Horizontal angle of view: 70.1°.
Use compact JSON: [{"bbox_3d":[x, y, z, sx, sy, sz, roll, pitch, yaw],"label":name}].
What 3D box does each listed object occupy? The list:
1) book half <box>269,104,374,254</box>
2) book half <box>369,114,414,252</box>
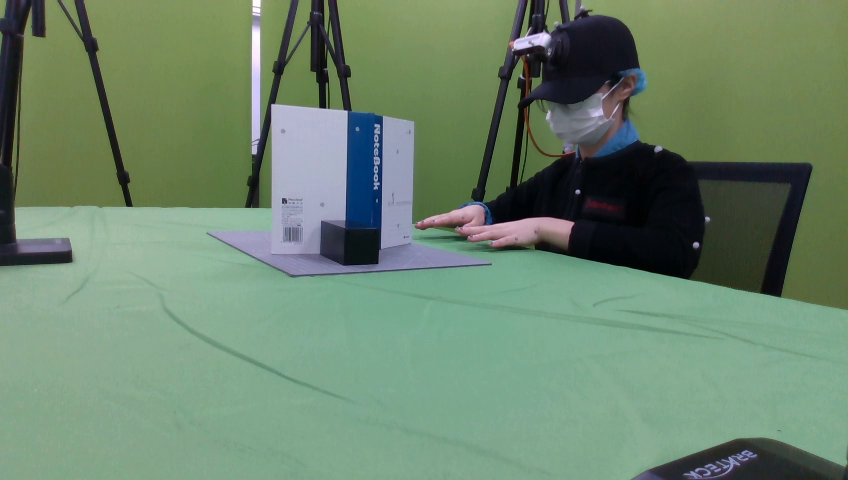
[{"bbox_3d":[-0.148,-0.084,0.877,0.149,0.210,0.016,0,7,-22],"label":"book half"},{"bbox_3d":[-0.053,-0.092,0.974,0.007,0.210,0.144,4,7,27],"label":"book half"}]
